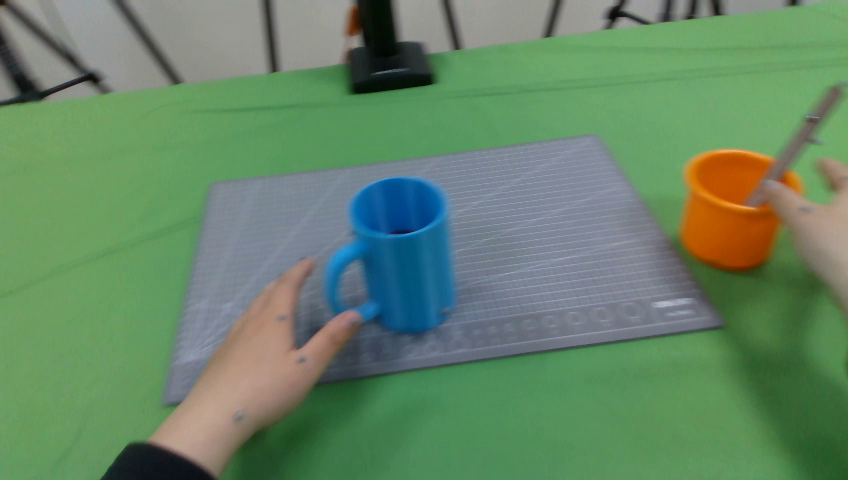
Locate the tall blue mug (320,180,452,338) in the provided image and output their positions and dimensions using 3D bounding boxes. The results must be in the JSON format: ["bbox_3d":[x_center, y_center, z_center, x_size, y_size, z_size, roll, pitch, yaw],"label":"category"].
[{"bbox_3d":[-0.024,0.026,0.483,0.077,0.109,0.106,14,45,20],"label":"tall blue mug"}]

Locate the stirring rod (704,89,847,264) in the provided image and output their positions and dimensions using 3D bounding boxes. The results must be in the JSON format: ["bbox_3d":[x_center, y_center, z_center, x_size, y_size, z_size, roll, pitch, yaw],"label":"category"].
[{"bbox_3d":[0.300,-0.053,0.520,0.176,0.006,0.014,-56,40,10],"label":"stirring rod"}]
